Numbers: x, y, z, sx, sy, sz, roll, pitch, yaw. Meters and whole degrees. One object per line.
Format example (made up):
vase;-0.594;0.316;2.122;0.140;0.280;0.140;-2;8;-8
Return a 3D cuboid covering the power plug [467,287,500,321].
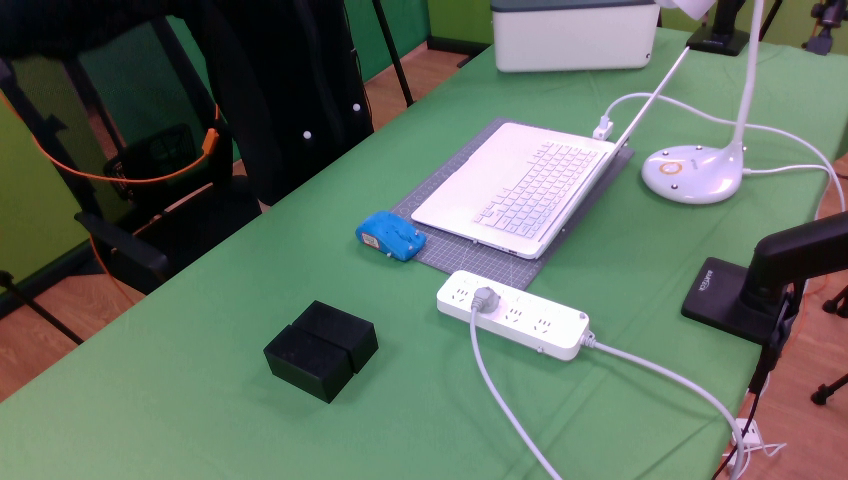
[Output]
power plug;0.073;0.092;0.814;0.035;0.053;0.073;29;54;34

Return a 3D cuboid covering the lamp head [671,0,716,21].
lamp head;0.375;-0.373;0.807;0.122;0.113;0.112;-40;27;32

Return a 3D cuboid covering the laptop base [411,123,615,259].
laptop base;0.168;-0.101;1.073;0.234;0.023;0.355;17;46;30

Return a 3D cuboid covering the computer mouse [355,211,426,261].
computer mouse;-0.055;-0.010;0.980;0.116;0.041;0.063;27;50;29

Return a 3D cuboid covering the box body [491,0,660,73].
box body;0.347;-0.521;1.429;0.363;0.161;0.253;1;41;9

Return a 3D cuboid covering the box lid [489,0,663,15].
box lid;0.341;-0.576;1.380;0.371;0.015;0.262;0;41;10

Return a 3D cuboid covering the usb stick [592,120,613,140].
usb stick;0.336;-0.201;1.146;0.021;0.027;0.059;27;53;26

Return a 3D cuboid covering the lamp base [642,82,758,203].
lamp base;0.464;-0.174;0.992;0.179;0.181;0.159;-5;41;-1

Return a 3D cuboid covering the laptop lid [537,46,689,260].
laptop lid;0.293;-0.136;0.927;0.013;0.241;0.357;35;51;10

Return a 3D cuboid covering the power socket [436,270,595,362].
power socket;0.118;0.101;0.832;0.225;0.033;0.072;19;48;27
